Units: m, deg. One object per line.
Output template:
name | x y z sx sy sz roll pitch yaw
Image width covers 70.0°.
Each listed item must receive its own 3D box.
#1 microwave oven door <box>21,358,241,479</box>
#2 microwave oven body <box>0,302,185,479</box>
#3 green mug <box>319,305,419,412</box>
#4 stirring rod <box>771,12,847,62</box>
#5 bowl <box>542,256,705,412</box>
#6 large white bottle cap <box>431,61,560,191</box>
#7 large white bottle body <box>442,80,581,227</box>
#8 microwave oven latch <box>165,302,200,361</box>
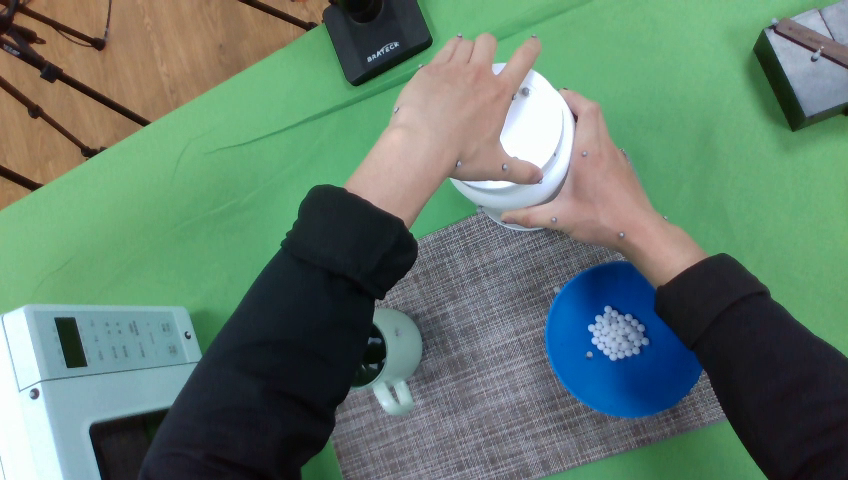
microwave oven door | -0.272 0.308 0.646 0.039 0.245 0.354 -25 78 13
microwave oven body | -0.414 0.331 0.694 0.326 0.261 0.439 -25 79 13
green mug | -0.052 0.134 0.680 0.092 0.105 0.124 -32 77 11
stirring rod | 0.407 -0.168 0.563 0.175 0.006 0.014 36 130 17
bowl | 0.201 0.093 0.619 0.151 0.077 0.151 -2 84 18
large white bottle cap | 0.061 -0.101 0.535 0.114 0.018 0.114 -3 82 18
large white bottle body | 0.089 -0.090 0.615 0.130 0.186 0.130 -2 82 17
microwave oven latch | -0.319 0.119 0.785 0.030 0.029 0.079 -24 79 13
